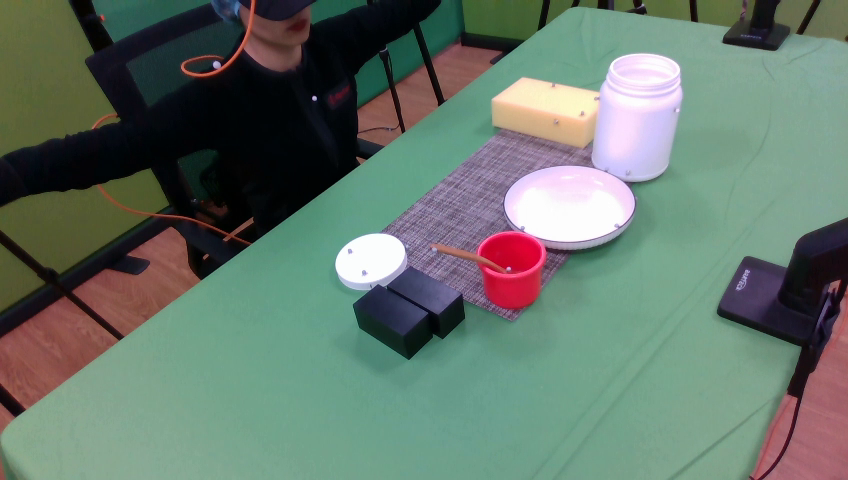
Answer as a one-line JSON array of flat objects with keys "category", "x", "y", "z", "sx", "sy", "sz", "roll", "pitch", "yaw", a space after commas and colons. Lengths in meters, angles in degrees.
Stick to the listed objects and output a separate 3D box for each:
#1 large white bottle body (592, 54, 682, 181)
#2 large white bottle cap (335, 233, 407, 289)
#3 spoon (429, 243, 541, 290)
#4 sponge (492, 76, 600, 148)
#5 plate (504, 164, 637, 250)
[{"category": "large white bottle body", "x": 0.360, "y": -0.208, "z": 1.027, "sx": 0.130, "sy": 0.185, "sz": 0.130, "roll": -3, "pitch": 41, "yaw": 3}, {"category": "large white bottle cap", "x": -0.084, "y": 0.032, "z": 0.961, "sx": 0.115, "sy": 0.018, "sz": 0.114, "roll": -6, "pitch": 41, "yaw": 6}, {"category": "spoon", "x": 0.086, "y": 0.033, "z": 0.826, "sx": 0.195, "sy": 0.021, "sz": 0.041, "roll": 23, "pitch": 28, "yaw": -33}, {"category": "sponge", "x": 0.254, "y": -0.259, "z": 1.207, "sx": 0.205, "sy": 0.061, "sz": 0.118, "roll": 22, "pitch": 47, "yaw": 31}, {"category": "plate", "x": 0.234, "y": -0.051, "z": 0.981, "sx": 0.209, "sy": 0.038, "sz": 0.208, "roll": -5, "pitch": 40, "yaw": 5}]
